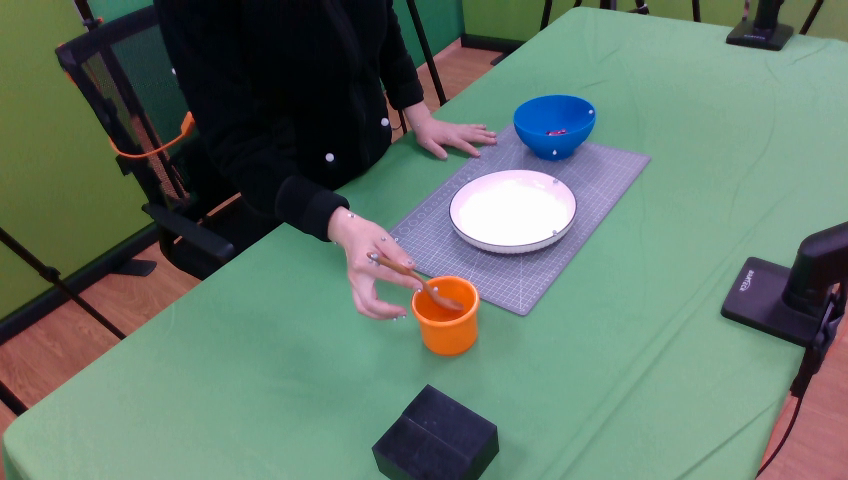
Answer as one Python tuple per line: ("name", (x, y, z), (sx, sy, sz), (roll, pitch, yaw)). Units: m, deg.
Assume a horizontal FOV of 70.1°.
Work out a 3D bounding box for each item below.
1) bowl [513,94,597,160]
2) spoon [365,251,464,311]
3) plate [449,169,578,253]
("bowl", (0.244, -0.202, 1.130), (0.151, 0.077, 0.150), (-6, 40, 5))
("spoon", (-0.009, 0.051, 0.749), (0.041, 0.195, 0.021), (31, 84, 44))
("plate", (0.147, -0.044, 0.993), (0.209, 0.038, 0.208), (-5, 40, 5))
